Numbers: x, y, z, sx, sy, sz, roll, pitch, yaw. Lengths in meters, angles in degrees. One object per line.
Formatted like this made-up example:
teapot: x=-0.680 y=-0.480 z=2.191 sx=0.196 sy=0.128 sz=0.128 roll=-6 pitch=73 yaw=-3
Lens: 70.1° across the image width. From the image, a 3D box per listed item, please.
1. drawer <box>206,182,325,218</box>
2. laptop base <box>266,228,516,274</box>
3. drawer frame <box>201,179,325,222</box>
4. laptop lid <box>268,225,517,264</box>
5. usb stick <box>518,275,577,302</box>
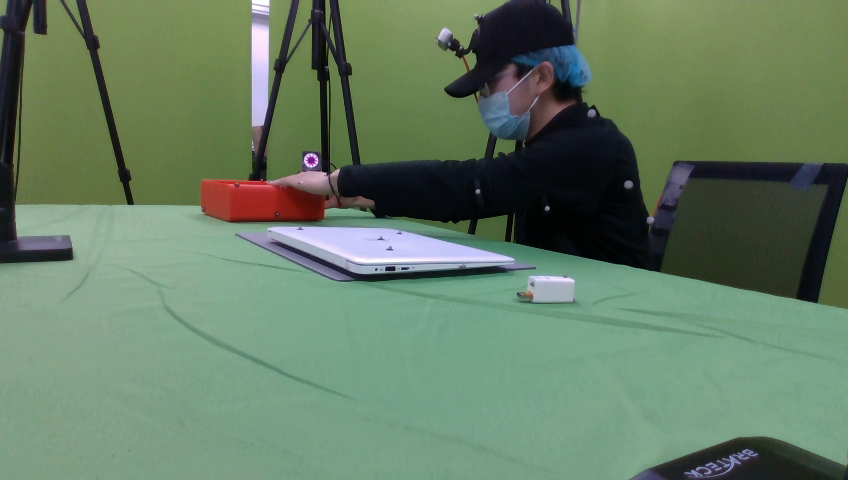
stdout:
drawer: x=-0.358 y=-0.092 z=1.361 sx=0.213 sy=0.073 sz=0.193 roll=-4 pitch=10 yaw=-36
laptop base: x=-0.065 y=0.014 z=0.877 sx=0.237 sy=0.023 sz=0.352 roll=2 pitch=6 yaw=-32
drawer frame: x=-0.361 y=-0.092 z=1.356 sx=0.215 sy=0.082 sz=0.200 roll=-4 pitch=10 yaw=-37
laptop lid: x=-0.063 y=0.002 z=0.877 sx=0.243 sy=0.013 sz=0.355 roll=1 pitch=7 yaw=-30
usb stick: x=0.127 y=0.050 z=0.626 sx=0.059 sy=0.027 sz=0.021 roll=-2 pitch=10 yaw=-12
